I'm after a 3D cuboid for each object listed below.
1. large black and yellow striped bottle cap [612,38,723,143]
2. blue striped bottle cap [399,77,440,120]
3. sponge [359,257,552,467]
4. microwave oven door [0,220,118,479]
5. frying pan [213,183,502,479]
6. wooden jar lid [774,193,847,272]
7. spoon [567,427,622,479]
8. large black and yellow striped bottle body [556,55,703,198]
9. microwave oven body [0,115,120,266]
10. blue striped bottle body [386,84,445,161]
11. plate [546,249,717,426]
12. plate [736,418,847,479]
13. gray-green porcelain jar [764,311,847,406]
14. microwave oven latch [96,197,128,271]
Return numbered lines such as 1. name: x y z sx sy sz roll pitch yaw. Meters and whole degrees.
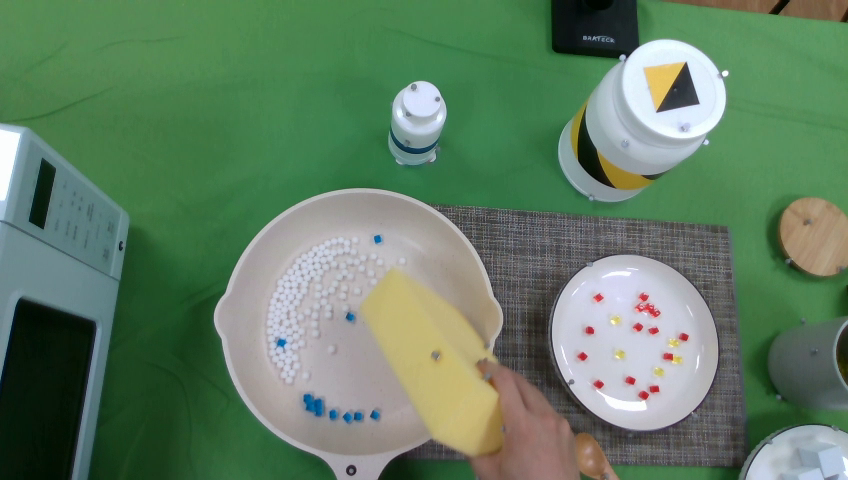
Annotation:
1. large black and yellow striped bottle cap: 0.255 -0.158 0.633 0.115 0.019 0.114 2 75 -6
2. blue striped bottle cap: -0.005 -0.156 0.666 0.044 0.021 0.044 2 73 -5
3. sponge: 0.023 0.114 0.604 0.061 0.204 0.119 -48 127 7
4. microwave oven door: -0.348 0.181 0.515 0.039 0.244 0.354 4 76 -6
5. frying pan: -0.071 0.180 0.638 0.307 0.103 0.484 2 68 -4
6. wooden jar lid: 0.514 -0.009 0.805 0.108 0.021 0.108 2 78 -7
7. spoon: 0.233 0.290 0.695 0.193 0.022 0.041 44 58 3
8. large black and yellow striped bottle body: 0.245 -0.137 0.716 0.131 0.184 0.130 2 76 -6
9. microwave oven body: -0.490 0.130 0.513 0.327 0.261 0.439 4 77 -7
10. blue striped bottle body: -0.010 -0.144 0.716 0.063 0.121 0.063 2 76 -7
11. plate: 0.245 0.114 0.728 0.209 0.038 0.208 2 77 -6
12. plate: 0.458 0.315 0.712 0.208 0.039 0.206 2 76 -7
13. gray-green porcelain jar: 0.478 0.140 0.710 0.106 0.127 0.105 2 76 -7
14. microwave oven latch: -0.346 -0.007 0.664 0.030 0.029 0.079 7 77 -6
